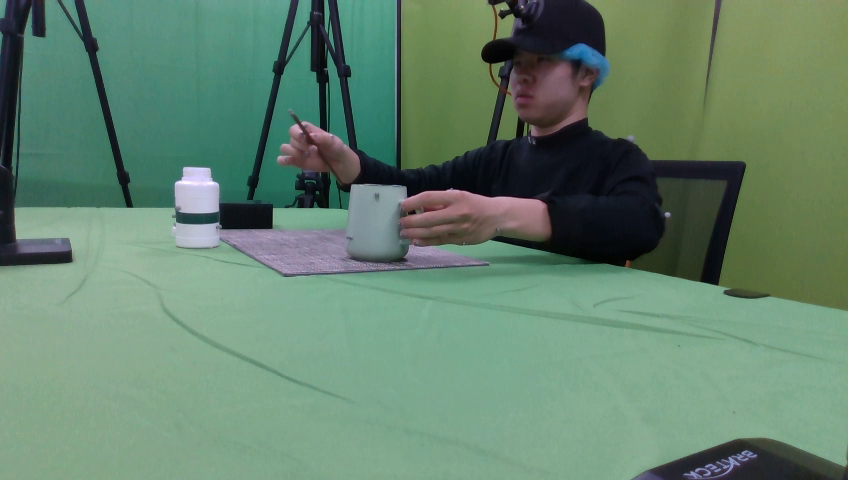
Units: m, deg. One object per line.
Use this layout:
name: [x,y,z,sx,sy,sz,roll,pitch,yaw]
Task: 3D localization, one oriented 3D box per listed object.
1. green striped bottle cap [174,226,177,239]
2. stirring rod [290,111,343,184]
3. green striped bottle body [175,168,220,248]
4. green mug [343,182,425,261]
green striped bottle cap: [-0.405,-0.015,1.036,0.044,0.020,0.044,0,10,0]
stirring rod: [-0.177,-0.150,1.008,0.014,0.006,0.177,32,-17,37]
green striped bottle body: [-0.345,-0.050,0.924,0.063,0.119,0.063,2,7,0]
green mug: [-0.053,-0.026,0.849,0.125,0.105,0.093,7,8,32]
